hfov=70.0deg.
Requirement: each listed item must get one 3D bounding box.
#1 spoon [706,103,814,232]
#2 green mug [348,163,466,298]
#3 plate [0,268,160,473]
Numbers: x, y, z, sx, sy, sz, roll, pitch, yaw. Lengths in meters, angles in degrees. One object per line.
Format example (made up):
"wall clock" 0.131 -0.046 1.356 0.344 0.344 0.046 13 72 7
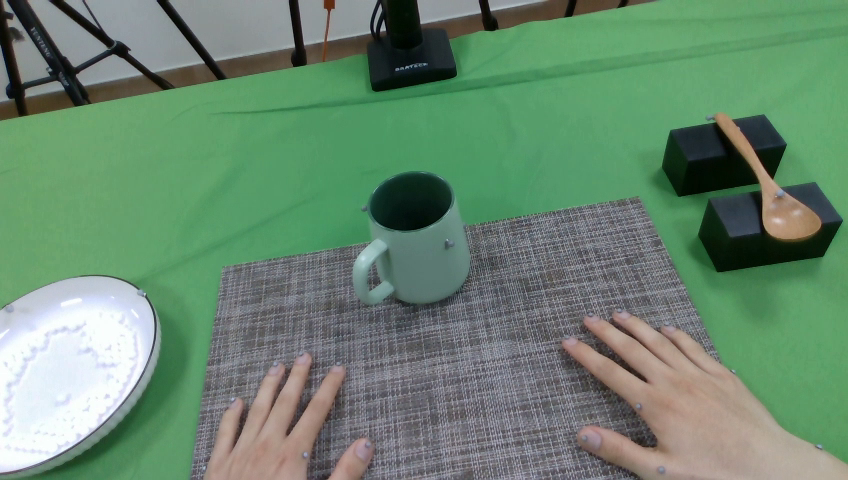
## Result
"spoon" 0.306 -0.075 0.568 0.041 0.022 0.191 -19 47 16
"green mug" -0.020 0.003 0.562 0.091 0.106 0.125 30 60 30
"plate" -0.347 0.118 0.567 0.209 0.038 0.207 -4 49 6
